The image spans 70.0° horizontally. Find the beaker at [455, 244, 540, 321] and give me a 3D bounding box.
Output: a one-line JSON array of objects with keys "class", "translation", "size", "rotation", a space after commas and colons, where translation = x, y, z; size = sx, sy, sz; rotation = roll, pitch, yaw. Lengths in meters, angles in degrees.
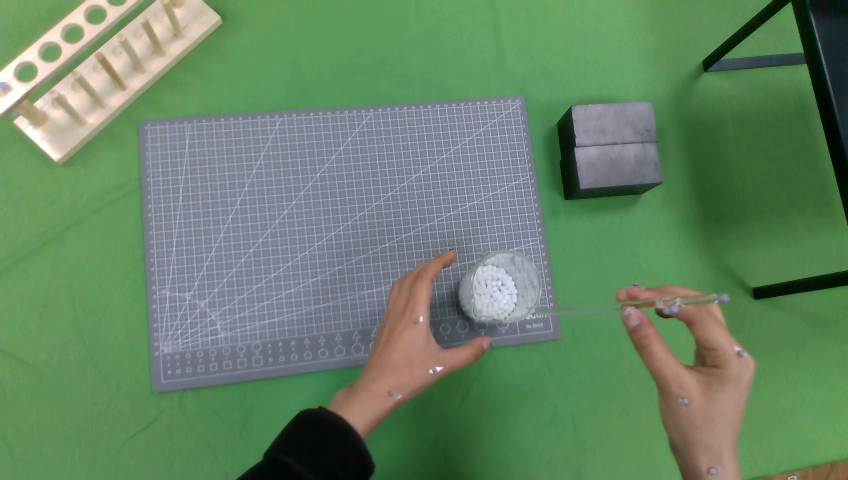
[{"class": "beaker", "translation": [0.073, 0.052, 0.652], "size": [0.084, 0.100, 0.074], "rotation": [-44, 88, -11]}]

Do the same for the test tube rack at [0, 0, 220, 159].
[{"class": "test tube rack", "translation": [-0.338, -0.204, 0.648], "size": [0.067, 0.085, 0.242], "rotation": [42, 78, 2]}]

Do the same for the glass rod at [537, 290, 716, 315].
[{"class": "glass rod", "translation": [0.138, 0.049, 0.454], "size": [0.008, 0.199, 0.008], "rotation": [4, 80, -21]}]
